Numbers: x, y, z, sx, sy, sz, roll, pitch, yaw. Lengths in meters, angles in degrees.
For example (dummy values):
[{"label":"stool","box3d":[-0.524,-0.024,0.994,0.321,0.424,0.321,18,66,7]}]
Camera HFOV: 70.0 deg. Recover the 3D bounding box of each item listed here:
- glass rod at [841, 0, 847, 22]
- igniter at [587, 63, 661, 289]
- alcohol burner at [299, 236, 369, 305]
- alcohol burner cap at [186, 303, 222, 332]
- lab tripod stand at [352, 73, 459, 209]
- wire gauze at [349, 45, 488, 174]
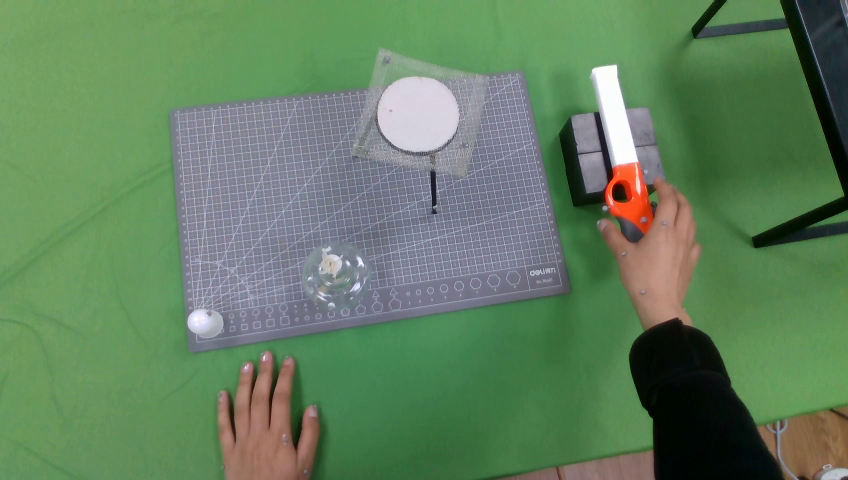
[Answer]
[{"label":"glass rod","box3d":[0.461,-0.173,0.628,0.008,0.008,0.198,-7,78,-6]},{"label":"igniter","box3d":[0.235,-0.079,0.715,0.057,0.025,0.275,-8,77,-1]},{"label":"alcohol burner","box3d":[-0.099,0.031,0.660,0.078,0.119,0.077,1,78,-5]},{"label":"alcohol burner cap","box3d":[-0.246,0.085,0.671,0.034,0.048,0.033,1,76,-5]},{"label":"lab tripod stand","box3d":[-0.011,-0.122,0.693,0.148,0.132,0.147,1,75,-4]},{"label":"wire gauze","box3d":[-0.004,-0.135,0.627,0.121,0.011,0.124,14,75,-2]}]
